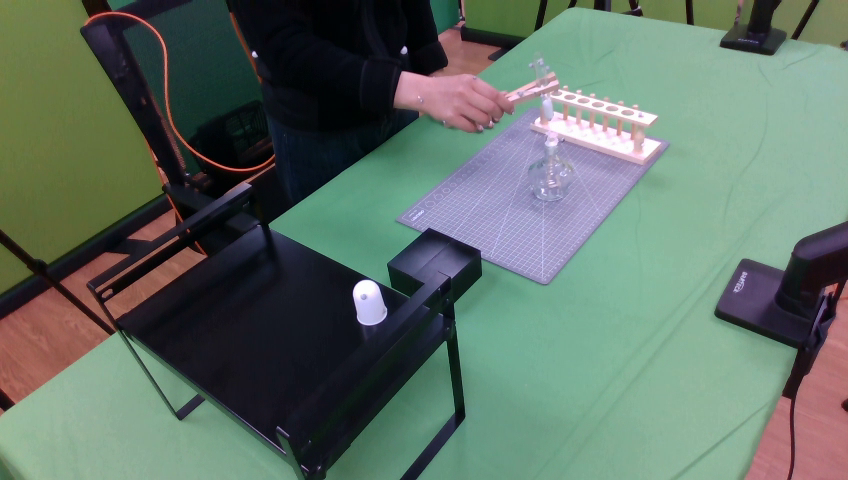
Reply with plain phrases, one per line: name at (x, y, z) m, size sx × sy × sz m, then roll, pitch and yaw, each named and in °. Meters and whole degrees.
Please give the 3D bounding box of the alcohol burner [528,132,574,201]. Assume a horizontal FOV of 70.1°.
alcohol burner at (0.214, -0.126, 1.016) m, size 0.078 × 0.119 × 0.077 m, roll -5°, pitch 38°, yaw 4°

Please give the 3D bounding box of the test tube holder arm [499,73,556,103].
test tube holder arm at (0.154, -0.222, 0.900) m, size 0.088 × 0.015 × 0.010 m, roll -25°, pitch 58°, yaw 6°

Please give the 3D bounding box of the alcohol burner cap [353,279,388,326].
alcohol burner cap at (-0.056, 0.061, 0.616) m, size 0.034 × 0.048 × 0.033 m, roll -4°, pitch 41°, yaw 4°

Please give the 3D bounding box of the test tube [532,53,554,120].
test tube at (0.179, -0.225, 0.900) m, size 0.017 × 0.151 × 0.017 m, roll -7°, pitch 65°, yaw 16°

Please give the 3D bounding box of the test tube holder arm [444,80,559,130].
test tube holder arm at (0.114, -0.202, 0.903) m, size 0.178 × 0.015 × 0.013 m, roll -19°, pitch 58°, yaw 10°

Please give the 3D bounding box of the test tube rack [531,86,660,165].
test tube rack at (0.320, -0.226, 1.140) m, size 0.240 × 0.085 × 0.067 m, roll 27°, pitch 51°, yaw 34°
